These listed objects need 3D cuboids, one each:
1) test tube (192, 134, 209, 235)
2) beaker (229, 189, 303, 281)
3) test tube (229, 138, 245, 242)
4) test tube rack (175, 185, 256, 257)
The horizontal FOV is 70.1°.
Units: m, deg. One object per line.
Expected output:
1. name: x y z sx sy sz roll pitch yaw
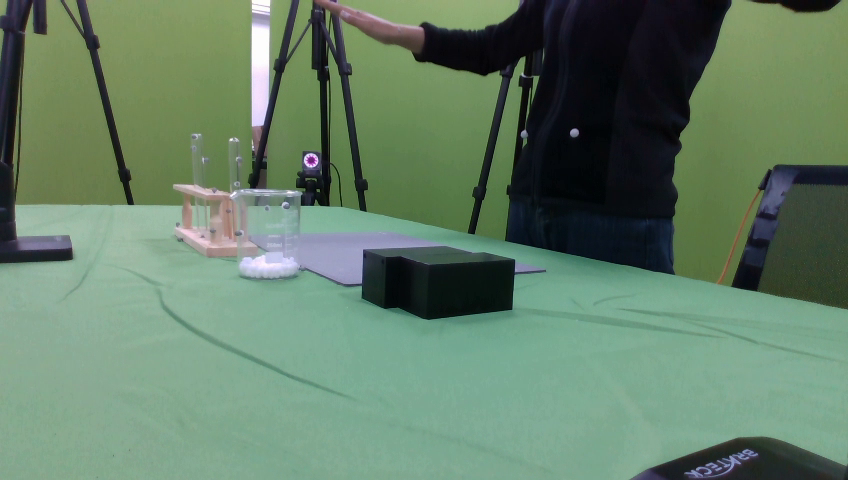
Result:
1. test tube: -0.332 -0.082 0.898 0.017 0.150 0.017 -2 6 0
2. beaker: -0.181 -0.007 0.695 0.084 0.100 0.073 -4 9 -36
3. test tube: -0.269 -0.071 0.867 0.017 0.150 0.017 0 9 0
4. test tube rack: -0.324 -0.035 0.922 0.067 0.085 0.241 -2 9 -31
